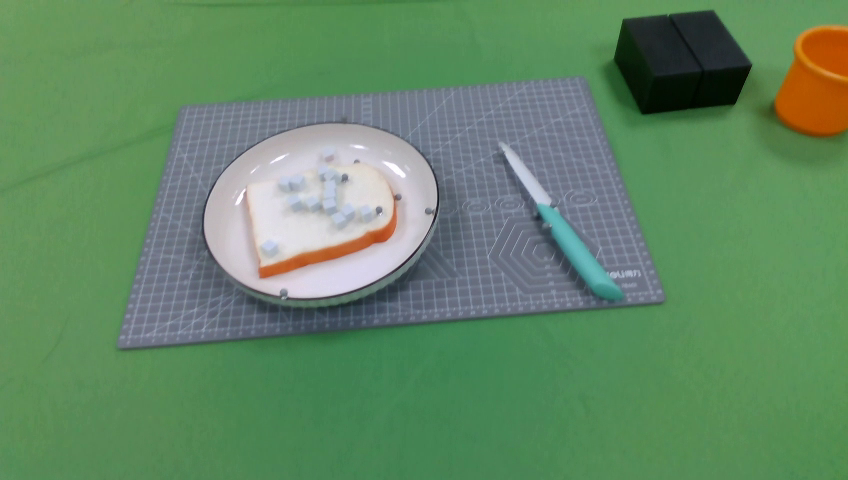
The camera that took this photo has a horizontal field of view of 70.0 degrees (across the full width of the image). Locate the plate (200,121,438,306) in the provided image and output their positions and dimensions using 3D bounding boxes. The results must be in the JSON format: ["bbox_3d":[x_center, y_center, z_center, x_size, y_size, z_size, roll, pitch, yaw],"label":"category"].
[{"bbox_3d":[-0.091,-0.025,0.545,0.209,0.038,0.207,-1,53,1],"label":"plate"}]

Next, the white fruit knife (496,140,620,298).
[{"bbox_3d":[0.113,-0.027,0.555,0.027,0.016,0.205,3,43,-34],"label":"white fruit knife"}]

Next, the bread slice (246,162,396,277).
[{"bbox_3d":[-0.093,-0.028,0.550,0.132,0.019,0.103,-17,53,-10],"label":"bread slice"}]
